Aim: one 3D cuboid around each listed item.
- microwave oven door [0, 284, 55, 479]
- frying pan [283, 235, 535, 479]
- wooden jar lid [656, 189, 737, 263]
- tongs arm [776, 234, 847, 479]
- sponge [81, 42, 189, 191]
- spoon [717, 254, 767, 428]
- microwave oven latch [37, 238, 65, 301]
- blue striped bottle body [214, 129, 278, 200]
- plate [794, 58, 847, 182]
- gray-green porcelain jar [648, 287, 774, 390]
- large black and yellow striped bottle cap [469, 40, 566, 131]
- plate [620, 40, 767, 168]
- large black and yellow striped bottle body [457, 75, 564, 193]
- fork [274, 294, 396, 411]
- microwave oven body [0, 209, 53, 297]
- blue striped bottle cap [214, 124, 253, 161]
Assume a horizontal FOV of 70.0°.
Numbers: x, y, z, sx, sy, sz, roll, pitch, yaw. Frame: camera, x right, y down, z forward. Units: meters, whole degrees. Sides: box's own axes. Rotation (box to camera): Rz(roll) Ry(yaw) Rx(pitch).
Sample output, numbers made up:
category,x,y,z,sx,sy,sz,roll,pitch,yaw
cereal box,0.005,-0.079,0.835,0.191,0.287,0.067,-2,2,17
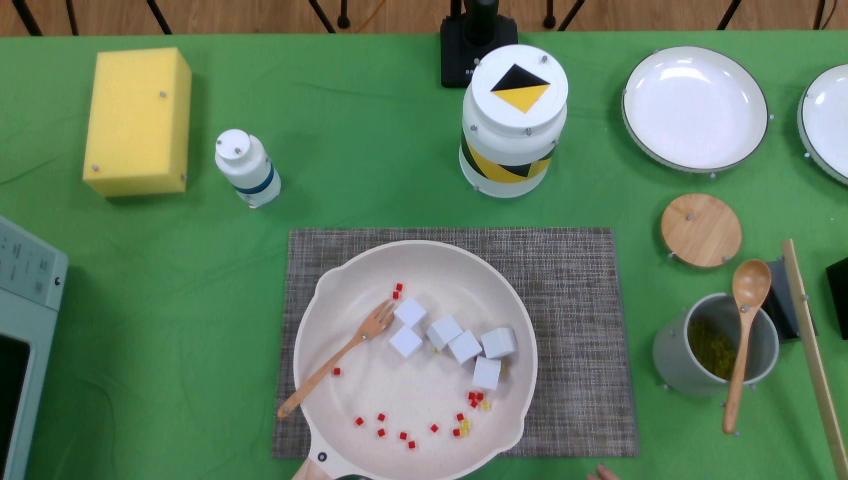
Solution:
category,x,y,z,sx,sy,sz,roll,pitch,yaw
microwave oven door,-0.499,0.211,0.622,0.039,0.245,0.353,0,71,1
frying pan,-0.080,0.208,0.711,0.305,0.103,0.487,39,67,13
wooden jar lid,0.374,-0.018,0.836,0.108,0.021,0.107,0,72,1
tongs arm,0.488,0.179,0.721,0.051,0.026,0.383,-7,83,-6
sponge,-0.411,-0.178,0.871,0.118,0.061,0.205,-5,72,-2
spoon,0.342,0.108,0.662,0.041,0.022,0.193,17,75,2
microwave oven latch,-0.493,0.038,0.789,0.030,0.029,0.078,3,72,1
blue striped bottle body,-0.240,-0.106,0.814,0.063,0.121,0.062,0,70,1
plate,0.638,-0.166,0.876,0.209,0.038,0.207,0,71,1
gray-green porcelain jar,0.337,0.124,0.731,0.106,0.127,0.105,0,71,0
large black and yellow striped bottle cap,0.111,-0.185,0.718,0.115,0.019,0.114,0,72,1
plate,0.389,-0.196,0.888,0.208,0.039,0.206,0,71,1
large black and yellow striped bottle body,0.110,-0.155,0.798,0.131,0.185,0.130,0,70,0
fork,-0.106,0.135,0.746,0.028,0.019,0.207,43,51,7
microwave oven body,-0.644,0.172,0.641,0.326,0.261,0.439,0,71,0
blue striped bottle cap,-0.242,-0.124,0.766,0.044,0.021,0.044,0,72,0
